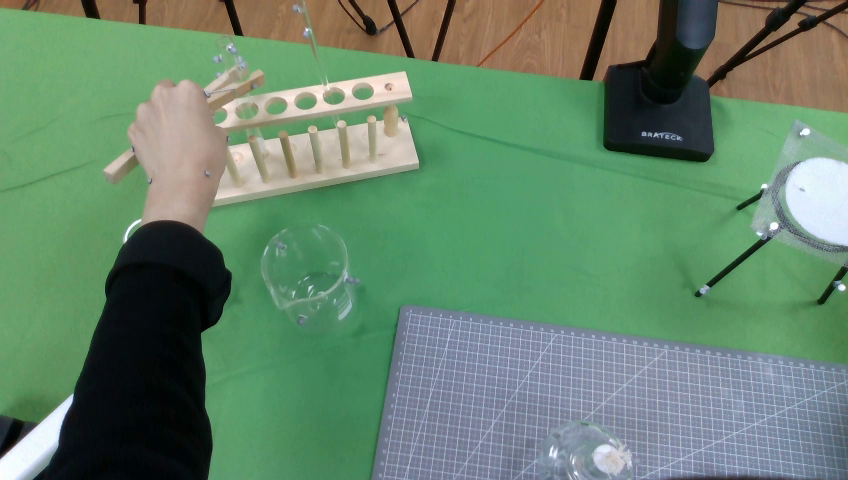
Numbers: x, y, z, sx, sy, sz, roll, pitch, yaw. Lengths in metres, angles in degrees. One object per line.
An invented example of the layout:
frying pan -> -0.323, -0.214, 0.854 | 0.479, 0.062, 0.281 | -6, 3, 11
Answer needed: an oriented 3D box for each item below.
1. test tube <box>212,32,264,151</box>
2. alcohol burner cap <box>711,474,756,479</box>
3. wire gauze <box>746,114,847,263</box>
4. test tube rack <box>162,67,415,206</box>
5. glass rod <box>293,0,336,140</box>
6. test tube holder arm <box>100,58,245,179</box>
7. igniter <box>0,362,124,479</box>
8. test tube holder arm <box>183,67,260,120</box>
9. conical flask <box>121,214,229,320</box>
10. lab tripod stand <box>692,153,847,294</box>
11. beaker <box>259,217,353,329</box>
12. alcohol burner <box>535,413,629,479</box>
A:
test tube -> -0.179, -0.138, 0.593 | 0.017, 0.151, 0.017 | 1, 58, -1
alcohol burner cap -> 0.267, 0.213, 0.513 | 0.034, 0.048, 0.033 | 1, 65, -1
wire gauze -> 0.350, -0.038, 0.512 | 0.121, 0.011, 0.124 | 28, 68, 10
test tube rack -> -0.134, -0.107, 0.634 | 0.243, 0.086, 0.066 | -12, 65, -7
glass rod -> -0.105, -0.165, 0.589 | 0.008, 0.201, 0.008 | -2, 57, 4
test tube holder arm -> -0.215, -0.111, 0.534 | 0.013, 0.015, 0.177 | 29, 52, 7
igniter -> -0.351, 0.206, 0.459 | 0.057, 0.025, 0.276 | 33, 67, 24
test tube holder arm -> -0.188, -0.136, 0.560 | 0.010, 0.015, 0.087 | 39, 54, 14
conical flask -> -0.230, 0.020, 0.551 | 0.075, 0.123, 0.074 | 0, 64, -1
lab tripod stand -> 0.341, -0.008, 0.572 | 0.148, 0.132, 0.147 | 1, 63, -2
beaker -> -0.105, 0.038, 0.559 | 0.074, 0.101, 0.083 | 21, 66, 10
alcohol burner -> 0.132, 0.176, 0.487 | 0.078, 0.120, 0.077 | 1, 63, -3
